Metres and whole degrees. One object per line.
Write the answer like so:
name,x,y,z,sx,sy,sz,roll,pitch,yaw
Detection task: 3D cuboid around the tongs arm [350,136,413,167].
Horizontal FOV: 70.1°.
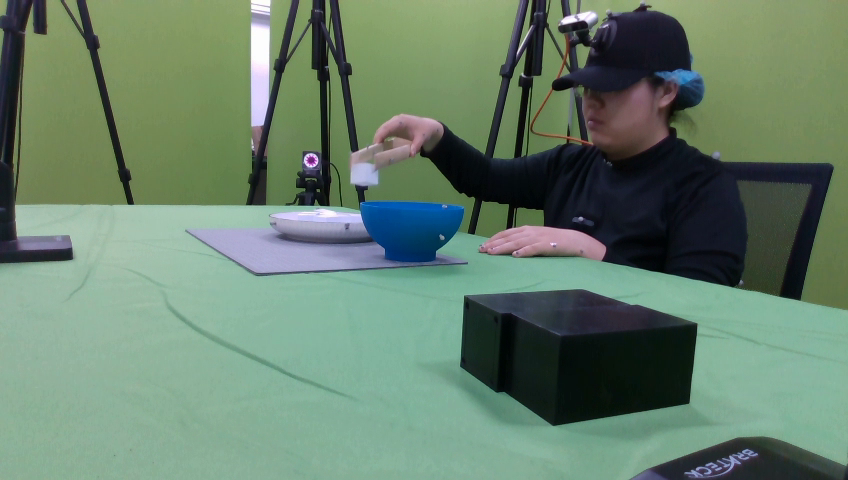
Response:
tongs arm,-0.070,-0.169,1.126,0.051,0.026,0.385,5,14,5

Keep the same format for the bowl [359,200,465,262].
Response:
bowl,-0.018,-0.013,0.859,0.151,0.077,0.151,2,7,0

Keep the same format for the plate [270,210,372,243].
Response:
plate,-0.161,-0.023,1.054,0.208,0.039,0.207,2,7,0

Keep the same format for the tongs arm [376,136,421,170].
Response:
tongs arm,-0.043,-0.166,1.122,0.028,0.028,0.388,2,14,9
